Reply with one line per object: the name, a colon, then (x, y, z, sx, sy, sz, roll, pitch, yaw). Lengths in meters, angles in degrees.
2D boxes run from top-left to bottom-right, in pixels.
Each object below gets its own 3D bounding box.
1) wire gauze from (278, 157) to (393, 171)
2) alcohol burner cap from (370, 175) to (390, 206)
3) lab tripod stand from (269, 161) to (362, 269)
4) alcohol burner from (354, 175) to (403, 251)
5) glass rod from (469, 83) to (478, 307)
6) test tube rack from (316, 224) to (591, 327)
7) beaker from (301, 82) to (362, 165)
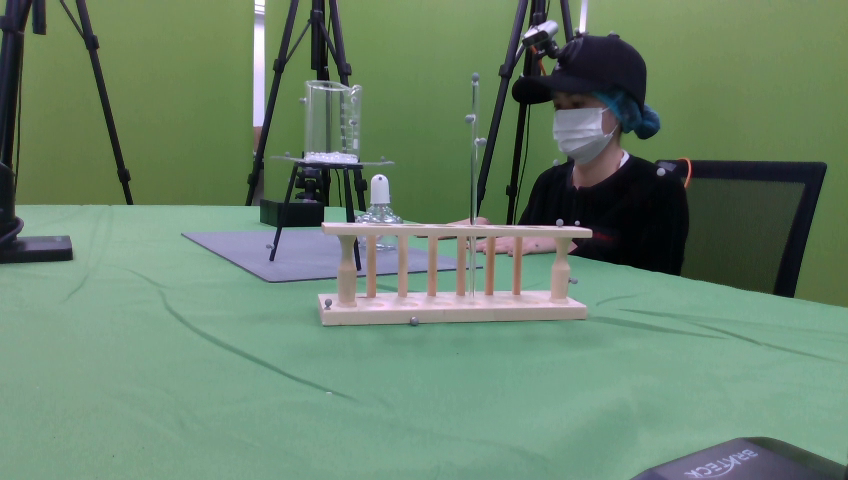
wire gauze: (-0.122, -0.100, 0.786, 0.122, 0.011, 0.124, -5, 14, -38)
alcohol burner cap: (-0.069, -0.077, 0.939, 0.034, 0.048, 0.034, -1, 6, 0)
lab tripod stand: (-0.125, -0.036, 0.794, 0.148, 0.131, 0.148, 5, 7, 0)
alcohol burner: (-0.072, -0.042, 0.944, 0.078, 0.119, 0.078, 1, 9, 0)
glass rod: (0.043, -0.033, 0.523, 0.008, 0.199, 0.008, -1, 14, 1)
test tube rack: (0.026, 0.028, 0.555, 0.243, 0.085, 0.066, 1, 7, -15)
beaker: (-0.117, -0.147, 0.776, 0.074, 0.100, 0.083, -3, 10, -38)
